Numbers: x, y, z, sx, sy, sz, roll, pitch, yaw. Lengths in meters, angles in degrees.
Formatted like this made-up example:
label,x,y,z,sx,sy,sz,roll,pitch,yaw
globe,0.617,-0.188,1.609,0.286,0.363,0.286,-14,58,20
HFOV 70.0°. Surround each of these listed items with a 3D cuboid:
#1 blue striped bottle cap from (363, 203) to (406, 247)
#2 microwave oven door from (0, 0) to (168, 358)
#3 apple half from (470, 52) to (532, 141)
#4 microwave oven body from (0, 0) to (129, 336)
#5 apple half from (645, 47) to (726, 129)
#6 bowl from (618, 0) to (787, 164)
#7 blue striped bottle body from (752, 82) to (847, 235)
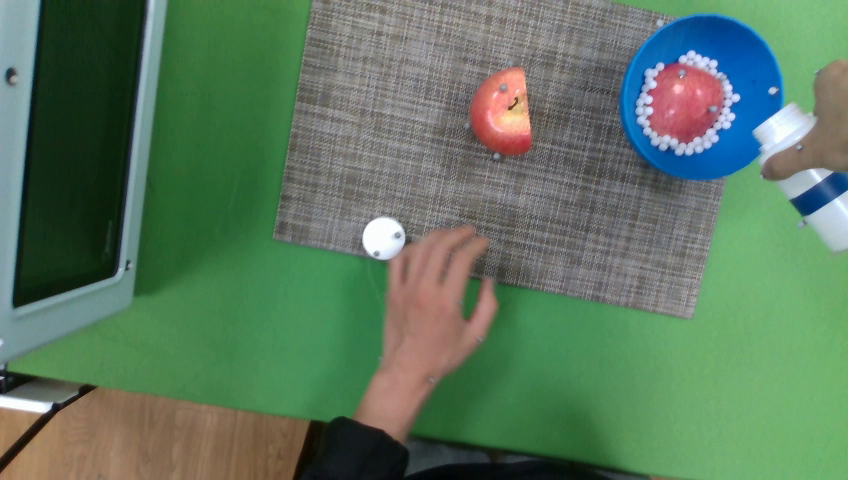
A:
label,x,y,z,sx,sy,sz,roll,pitch,yaw
blue striped bottle cap,-0.041,-0.015,0.619,0.044,0.020,0.044,-1,96,-5
microwave oven door,-0.272,-0.106,0.470,0.039,0.243,0.356,8,97,-3
apple half,0.071,-0.134,0.580,0.053,0.074,0.081,-8,101,3
microwave oven body,-0.410,-0.170,0.461,0.326,0.259,0.442,9,97,-4
apple half,0.254,-0.146,0.578,0.081,0.032,0.081,0,96,-2
bowl,0.252,-0.147,0.582,0.151,0.076,0.151,0,97,-1
blue striped bottle body,0.321,-0.069,0.491,0.063,0.063,0.120,-36,83,3
